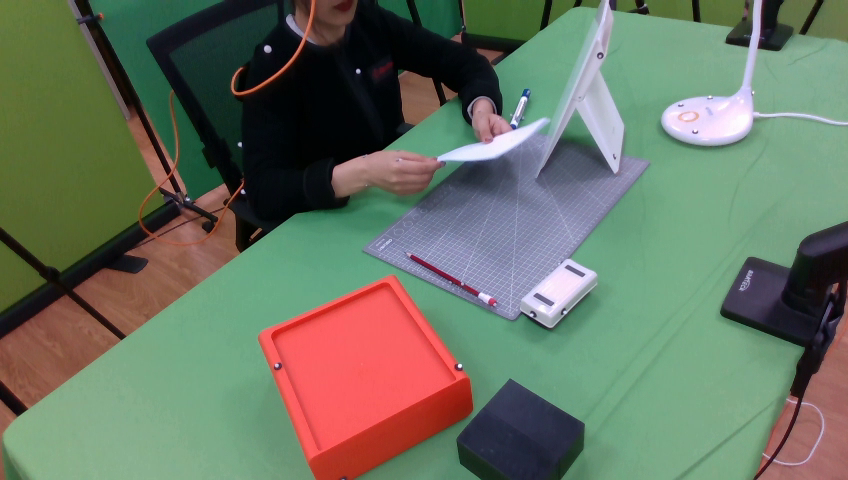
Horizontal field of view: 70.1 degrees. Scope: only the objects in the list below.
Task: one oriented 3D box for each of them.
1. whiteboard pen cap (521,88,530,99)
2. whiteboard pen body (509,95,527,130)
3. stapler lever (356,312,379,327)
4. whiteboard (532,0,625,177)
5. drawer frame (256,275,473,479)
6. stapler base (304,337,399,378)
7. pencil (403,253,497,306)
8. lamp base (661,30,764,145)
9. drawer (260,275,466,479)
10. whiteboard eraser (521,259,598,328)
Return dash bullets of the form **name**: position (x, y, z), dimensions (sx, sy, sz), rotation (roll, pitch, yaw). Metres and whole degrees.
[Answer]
- **whiteboard pen cap**: position (0.218, -0.312, 1.301), dimensions (0.018, 0.018, 0.033), rotation (6, 47, 17)
- **whiteboard pen body**: position (0.199, -0.272, 1.262), dimensions (0.017, 0.017, 0.140), rotation (7, 44, 18)
- **stapler lever**: position (-0.107, 0.127, 0.792), dimensions (0.118, 0.040, 0.026), rotation (-16, 25, 3)
- **whiteboard**: position (0.321, -0.258, 1.050), dimensions (0.144, 0.306, 0.217), rotation (21, 45, 5)
- **drawer frame**: position (-0.078, 0.164, 0.756), dimensions (0.202, 0.083, 0.211), rotation (-23, 43, -17)
- **stapler base**: position (-0.099, 0.150, 0.805), dimensions (0.130, 0.024, 0.041), rotation (-14, 25, 2)
- **pencil**: position (0.034, 0.056, 0.914), dimensions (0.192, 0.012, 0.012), rotation (27, 52, 38)
- **lamp base**: position (0.535, -0.287, 1.096), dimensions (0.179, 0.181, 0.159), rotation (-10, 40, -4)
- **drawer**: position (-0.080, 0.162, 0.760), dimensions (0.195, 0.073, 0.210), rotation (-22, 42, -16)
- **whiteboard eraser**: position (0.189, 0.076, 0.843), dimensions (0.055, 0.042, 0.113), rotation (29, 53, 37)
